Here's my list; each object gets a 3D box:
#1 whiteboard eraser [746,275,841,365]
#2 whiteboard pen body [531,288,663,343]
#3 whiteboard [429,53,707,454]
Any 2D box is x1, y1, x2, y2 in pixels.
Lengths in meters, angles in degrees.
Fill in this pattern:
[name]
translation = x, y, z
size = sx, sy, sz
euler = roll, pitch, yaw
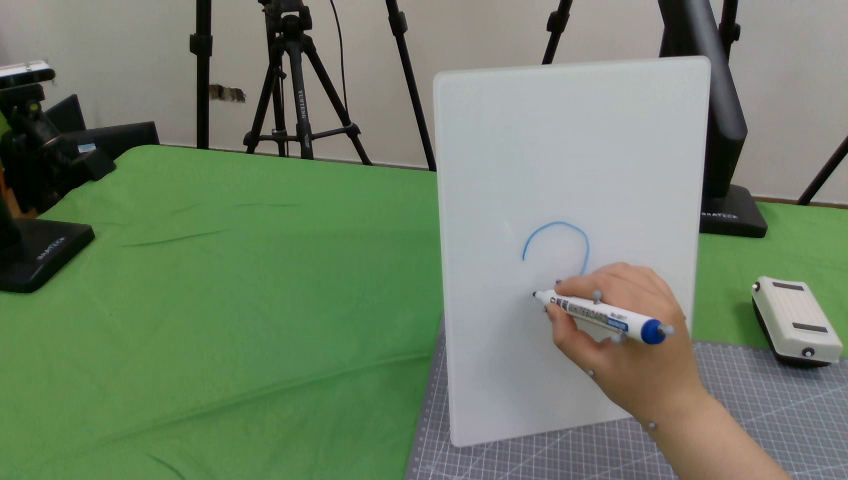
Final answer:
[whiteboard eraser]
translation = 0.370, 0.080, 0.614
size = 0.055, 0.042, 0.112
euler = 6, 31, 10
[whiteboard pen body]
translation = 0.109, 0.047, 0.412
size = 0.017, 0.017, 0.140
euler = -12, 9, -19
[whiteboard]
translation = 0.105, 0.000, 0.540
size = 0.218, 0.307, 0.143
euler = -6, 16, -10
